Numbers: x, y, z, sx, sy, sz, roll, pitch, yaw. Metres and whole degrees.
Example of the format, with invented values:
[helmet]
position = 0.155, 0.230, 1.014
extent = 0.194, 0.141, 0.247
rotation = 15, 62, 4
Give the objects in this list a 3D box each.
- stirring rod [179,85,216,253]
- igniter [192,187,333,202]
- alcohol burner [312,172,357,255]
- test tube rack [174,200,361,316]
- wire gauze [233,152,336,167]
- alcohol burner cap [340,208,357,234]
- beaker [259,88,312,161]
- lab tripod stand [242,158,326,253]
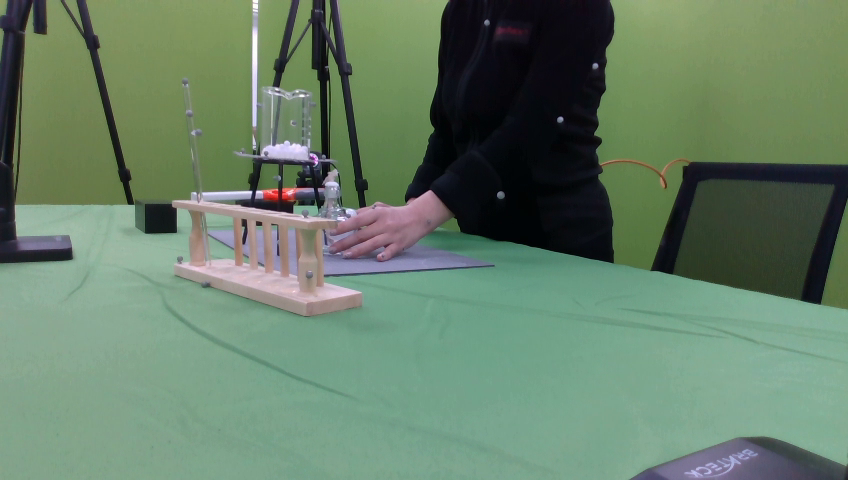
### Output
[stirring rod]
position = -0.237, -0.073, 0.634
extent = 0.006, 0.176, 0.014
rotation = 0, 9, 41
[igniter]
position = -0.316, -0.090, 1.214
extent = 0.278, 0.025, 0.057
rotation = -5, 12, -31
[alcohol burner]
position = -0.135, -0.038, 0.877
extent = 0.078, 0.119, 0.078
rotation = 1, 6, 0
[test tube rack]
position = -0.169, 0.009, 0.622
extent = 0.241, 0.085, 0.067
rotation = 9, 9, 41
[wire gauze]
position = -0.205, -0.118, 0.887
extent = 0.122, 0.011, 0.124
rotation = 2, 4, -32
[alcohol burner cap]
position = -0.142, -0.035, 1.136
extent = 0.034, 0.048, 0.034
rotation = 2, 7, 0
[beaker]
position = -0.201, -0.166, 0.876
extent = 0.074, 0.100, 0.083
rotation = 1, 7, -18
[lab tripod stand]
position = -0.207, -0.054, 0.895
extent = 0.148, 0.131, 0.148
rotation = 3, 5, 0
